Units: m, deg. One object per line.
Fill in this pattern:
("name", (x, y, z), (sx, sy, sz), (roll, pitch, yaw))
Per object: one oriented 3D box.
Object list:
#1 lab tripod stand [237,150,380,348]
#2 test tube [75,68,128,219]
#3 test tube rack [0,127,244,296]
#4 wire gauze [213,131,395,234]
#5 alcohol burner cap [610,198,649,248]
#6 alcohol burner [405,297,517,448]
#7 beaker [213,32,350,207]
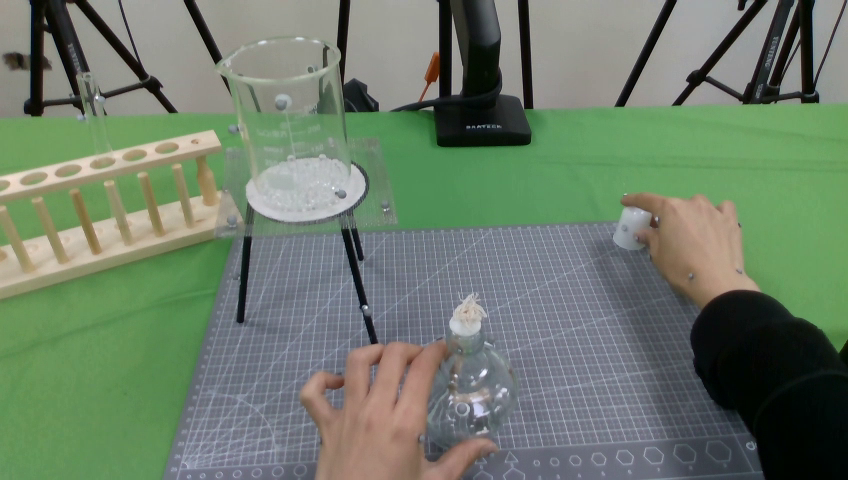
("lab tripod stand", (-0.089, 0.006, 0.490), (0.148, 0.132, 0.147), (0, 41, 1))
("test tube", (-0.298, -0.084, 0.563), (0.017, 0.151, 0.017), (3, 33, -2))
("test tube rack", (-0.307, -0.030, 0.575), (0.243, 0.086, 0.066), (-18, 43, -21))
("wire gauze", (-0.089, -0.044, 0.448), (0.125, 0.011, 0.120), (-8, 38, -5))
("alcohol burner cap", (0.204, -0.020, 0.597), (0.034, 0.048, 0.033), (1, 38, 0))
("alcohol burner", (0.026, 0.086, 0.410), (0.078, 0.120, 0.077), (1, 38, 0))
("beaker", (-0.092, -0.080, 0.414), (0.084, 0.101, 0.073), (-1, 39, 0))
